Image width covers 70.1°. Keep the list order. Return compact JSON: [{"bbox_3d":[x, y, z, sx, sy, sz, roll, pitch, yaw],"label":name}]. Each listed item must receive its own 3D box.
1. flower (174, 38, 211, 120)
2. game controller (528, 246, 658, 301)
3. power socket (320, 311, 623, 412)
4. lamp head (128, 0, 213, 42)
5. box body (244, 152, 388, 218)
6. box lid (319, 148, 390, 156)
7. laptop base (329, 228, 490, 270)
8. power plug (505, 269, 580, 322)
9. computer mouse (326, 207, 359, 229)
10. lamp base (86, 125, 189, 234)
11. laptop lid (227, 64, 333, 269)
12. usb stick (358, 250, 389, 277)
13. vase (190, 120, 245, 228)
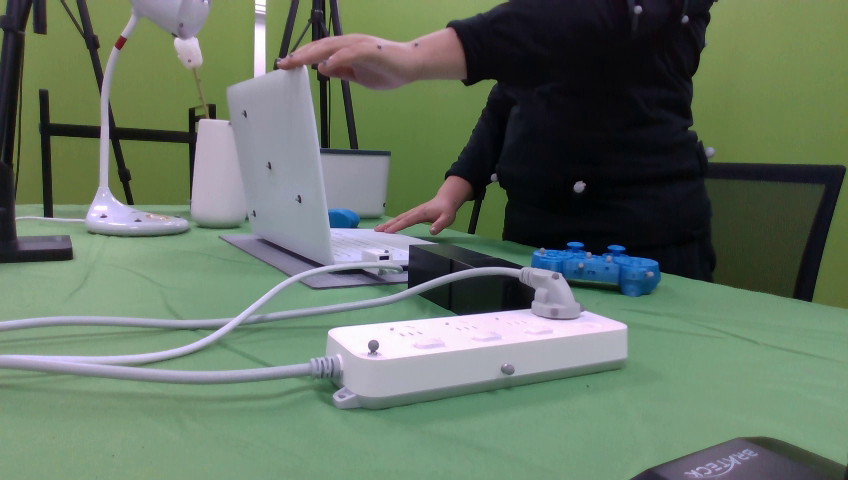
[{"bbox_3d":[-0.401,-0.207,1.141,0.038,0.361,0.044,-14,3,44],"label":"flower"},{"bbox_3d":[0.202,0.037,0.733,0.155,0.051,0.097,5,10,19],"label":"game controller"},{"bbox_3d":[0.038,0.075,0.410,0.228,0.032,0.072,-2,8,-28],"label":"power socket"},{"bbox_3d":[-0.423,-0.394,0.980,0.123,0.112,0.112,20,7,-3],"label":"lamp head"},{"bbox_3d":[-0.297,-0.143,1.475,0.366,0.160,0.253,-1,9,-30],"label":"box body"},{"bbox_3d":[-0.295,-0.217,1.463,0.373,0.015,0.262,-1,8,-29],"label":"box lid"},{"bbox_3d":[-0.096,0.011,0.912,0.237,0.023,0.352,3,6,-32],"label":"laptop base"},{"bbox_3d":[0.092,0.051,0.470,0.035,0.052,0.072,-1,6,-15],"label":"power plug"},{"bbox_3d":[-0.195,-0.046,1.241,0.117,0.041,0.063,0,9,12],"label":"computer mouse"},{"bbox_3d":[-0.497,-0.105,1.027,0.179,0.180,0.160,1,7,2],"label":"lamp base"},{"bbox_3d":[-0.208,-0.101,0.824,0.013,0.241,0.355,-13,16,-29],"label":"laptop lid"},{"bbox_3d":[-0.062,0.026,0.708,0.021,0.027,0.059,-4,5,-28],"label":"usb stick"},{"bbox_3d":[-0.390,-0.124,1.142,0.098,0.200,0.098,3,9,0],"label":"vase"}]
